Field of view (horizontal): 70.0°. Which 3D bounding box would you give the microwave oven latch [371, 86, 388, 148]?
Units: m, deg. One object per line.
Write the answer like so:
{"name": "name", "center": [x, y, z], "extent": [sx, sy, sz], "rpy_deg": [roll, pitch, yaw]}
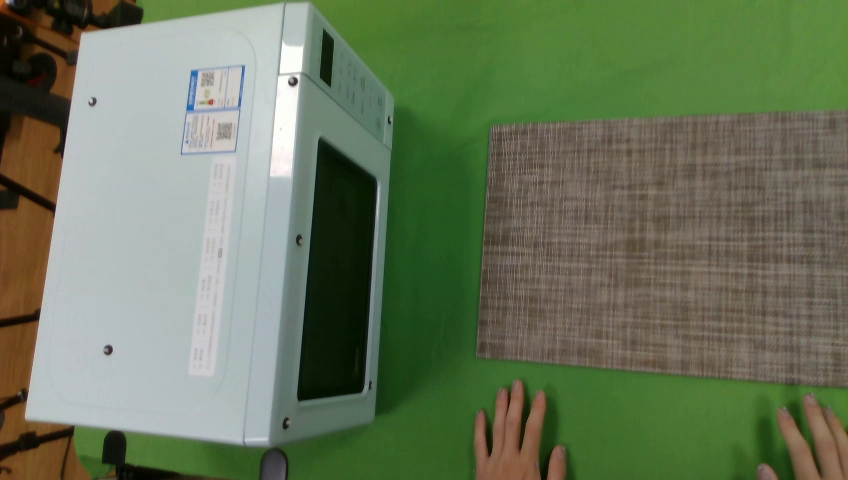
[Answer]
{"name": "microwave oven latch", "center": [-0.064, -0.164, 0.812], "extent": [0.030, 0.030, 0.079], "rpy_deg": [0, 81, 18]}

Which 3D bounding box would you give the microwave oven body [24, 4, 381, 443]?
{"name": "microwave oven body", "center": [-0.243, -0.005, 0.739], "extent": [0.325, 0.262, 0.440], "rpy_deg": [-1, 81, 17]}

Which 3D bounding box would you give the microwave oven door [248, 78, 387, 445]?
{"name": "microwave oven door", "center": [-0.108, 0.033, 0.683], "extent": [0.039, 0.245, 0.354], "rpy_deg": [-1, 80, 18]}
